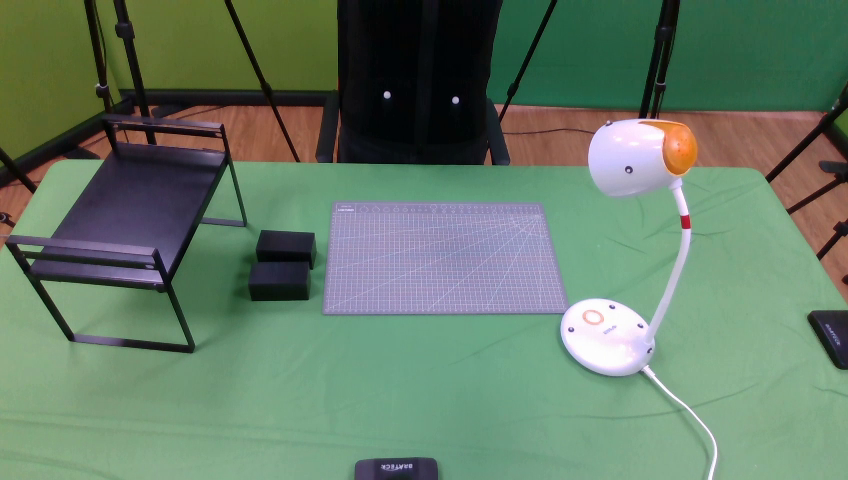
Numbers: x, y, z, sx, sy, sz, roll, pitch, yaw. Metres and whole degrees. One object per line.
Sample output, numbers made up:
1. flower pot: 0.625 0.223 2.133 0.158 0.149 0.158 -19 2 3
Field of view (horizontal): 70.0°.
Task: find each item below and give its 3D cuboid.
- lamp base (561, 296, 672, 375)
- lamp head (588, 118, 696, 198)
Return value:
1. lamp base: 0.332 0.119 0.995 0.160 0.181 0.178 -34 59 -30
2. lamp head: 0.304 -0.113 0.823 0.112 0.112 0.122 -26 16 -25
